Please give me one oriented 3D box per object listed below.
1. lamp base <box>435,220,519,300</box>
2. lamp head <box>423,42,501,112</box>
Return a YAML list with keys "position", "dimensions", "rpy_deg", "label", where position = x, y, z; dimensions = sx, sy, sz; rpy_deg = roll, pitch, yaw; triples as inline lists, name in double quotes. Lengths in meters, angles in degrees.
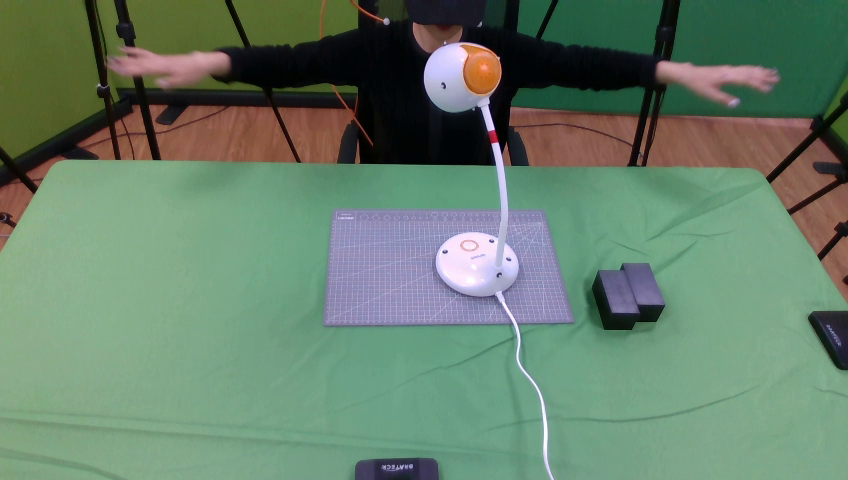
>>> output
- position: [0.112, -0.003, 1.096]
  dimensions: [0.161, 0.181, 0.178]
  rpy_deg: [-22, 54, -23]
  label: "lamp base"
- position: [0.071, -0.258, 0.962]
  dimensions: [0.112, 0.113, 0.122]
  rpy_deg: [-16, 19, -18]
  label: "lamp head"
